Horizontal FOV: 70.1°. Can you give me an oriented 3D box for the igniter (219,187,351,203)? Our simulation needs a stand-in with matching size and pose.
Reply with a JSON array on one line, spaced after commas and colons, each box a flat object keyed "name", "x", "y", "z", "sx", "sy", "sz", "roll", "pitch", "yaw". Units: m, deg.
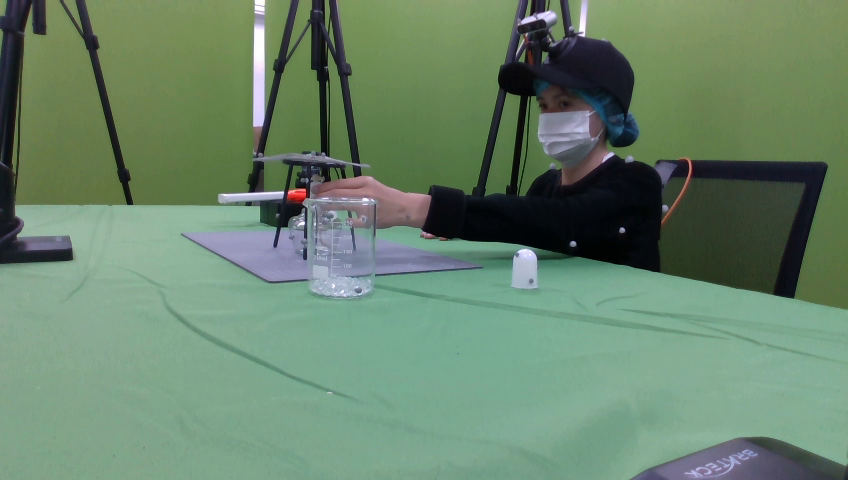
[{"name": "igniter", "x": -0.280, "y": -0.092, "z": 1.254, "sx": 0.278, "sy": 0.025, "sz": 0.057, "roll": -6, "pitch": 11, "yaw": -34}]

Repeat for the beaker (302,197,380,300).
[{"name": "beaker", "x": -0.089, "y": 0.007, "z": 0.625, "sx": 0.084, "sy": 0.100, "sz": 0.074, "roll": 4, "pitch": 7, "yaw": 16}]

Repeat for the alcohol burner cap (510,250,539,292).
[{"name": "alcohol burner cap", "x": 0.118, "y": 0.036, "z": 0.704, "sx": 0.034, "sy": 0.048, "sz": 0.034, "roll": 0, "pitch": 7, "yaw": 0}]

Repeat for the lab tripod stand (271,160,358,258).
[{"name": "lab tripod stand", "x": -0.160, "y": -0.048, "z": 0.876, "sx": 0.148, "sy": 0.131, "sz": 0.148, "roll": 3, "pitch": 5, "yaw": 0}]

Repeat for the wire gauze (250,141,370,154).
[{"name": "wire gauze", "x": -0.163, "y": -0.131, "z": 0.867, "sx": 0.124, "sy": 0.011, "sz": 0.122, "roll": -1, "pitch": 8, "yaw": 32}]

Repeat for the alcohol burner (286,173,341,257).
[{"name": "alcohol burner", "x": -0.158, "y": -0.037, "z": 0.868, "sx": 0.078, "sy": 0.119, "sz": 0.078, "roll": 1, "pitch": 6, "yaw": 0}]
